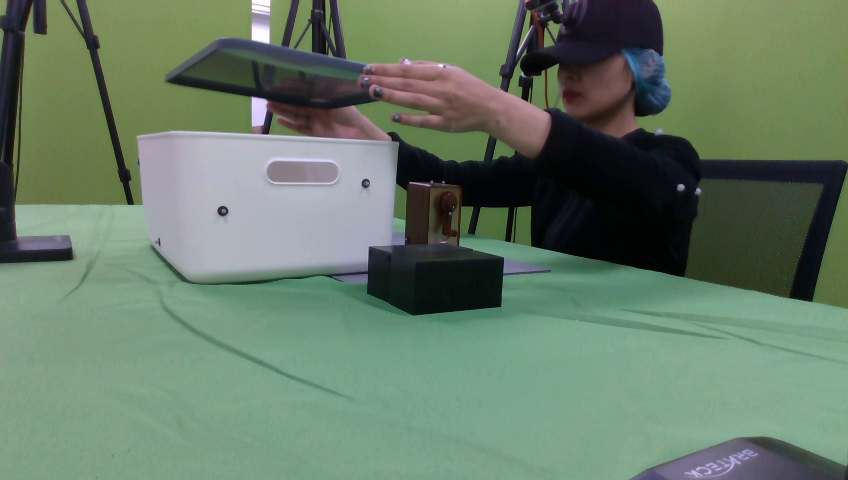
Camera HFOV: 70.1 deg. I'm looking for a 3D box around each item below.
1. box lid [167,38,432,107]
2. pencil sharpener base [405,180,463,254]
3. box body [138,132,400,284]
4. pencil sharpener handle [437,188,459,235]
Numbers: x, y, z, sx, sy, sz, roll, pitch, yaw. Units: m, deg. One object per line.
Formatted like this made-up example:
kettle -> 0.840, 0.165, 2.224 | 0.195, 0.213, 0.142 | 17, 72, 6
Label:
box lid -> -0.184, -0.214, 0.821 | 0.265, 0.015, 0.369 | 2, 5, -32
pencil sharpener base -> 0.016, -0.035, 0.922 | 0.061, 0.107, 0.076 | -1, 9, -30
box body -> -0.223, -0.056, 0.807 | 0.255, 0.160, 0.362 | -3, 9, -31
pencil sharpener handle -> 0.041, -0.041, 0.877 | 0.036, 0.067, 0.030 | -1, 8, -30
